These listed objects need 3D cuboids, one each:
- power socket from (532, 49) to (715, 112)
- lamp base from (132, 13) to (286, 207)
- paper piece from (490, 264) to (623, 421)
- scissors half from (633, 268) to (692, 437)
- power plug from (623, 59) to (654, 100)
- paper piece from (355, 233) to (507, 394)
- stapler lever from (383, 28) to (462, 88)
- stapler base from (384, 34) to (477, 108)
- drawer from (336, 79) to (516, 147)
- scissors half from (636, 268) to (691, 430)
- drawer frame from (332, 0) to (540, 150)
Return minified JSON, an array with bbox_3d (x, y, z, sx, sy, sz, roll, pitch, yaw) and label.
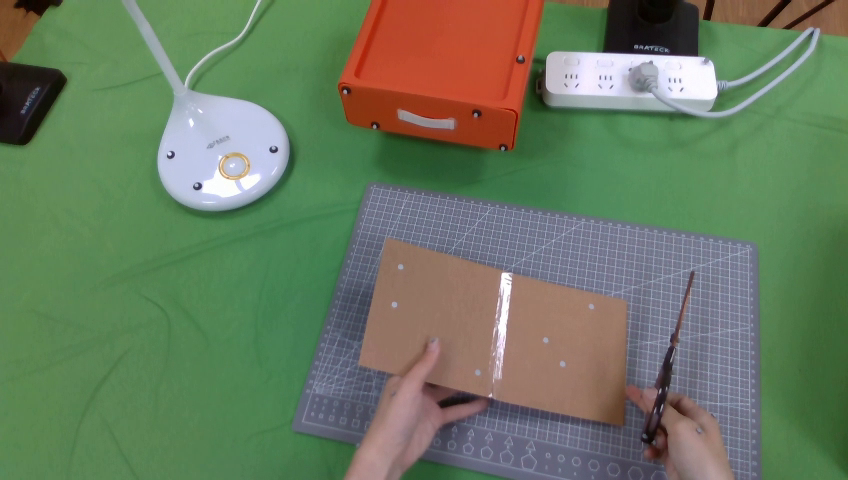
[{"bbox_3d":[0.252,-0.203,0.768,0.226,0.033,0.071,4,64,5],"label":"power socket"},{"bbox_3d":[-0.264,-0.153,0.685,0.160,0.182,0.178,-41,65,-17],"label":"lamp base"},{"bbox_3d":[0.137,0.102,0.616,0.135,0.004,0.135,15,66,-5],"label":"paper piece"},{"bbox_3d":[0.233,0.105,0.585,0.012,0.040,0.174,19,77,21],"label":"scissors half"},{"bbox_3d":[0.257,-0.187,0.734,0.035,0.053,0.072,14,65,9],"label":"power plug"},{"bbox_3d":[0.011,0.070,0.595,0.136,0.009,0.137,16,65,-10],"label":"paper piece"},{"bbox_3d":[-0.004,-0.214,0.701,0.117,0.040,0.027,40,88,24],"label":"stapler lever"},{"bbox_3d":[0.005,-0.207,0.725,0.129,0.024,0.041,40,88,22],"label":"stapler base"},{"bbox_3d":[0.023,-0.224,0.713,0.194,0.074,0.210,11,64,9],"label":"drawer"},{"bbox_3d":[0.229,0.096,0.567,0.013,0.040,0.174,20,60,16],"label":"scissors half"},{"bbox_3d":[0.022,-0.227,0.714,0.201,0.083,0.212,10,64,8],"label":"drawer frame"}]
